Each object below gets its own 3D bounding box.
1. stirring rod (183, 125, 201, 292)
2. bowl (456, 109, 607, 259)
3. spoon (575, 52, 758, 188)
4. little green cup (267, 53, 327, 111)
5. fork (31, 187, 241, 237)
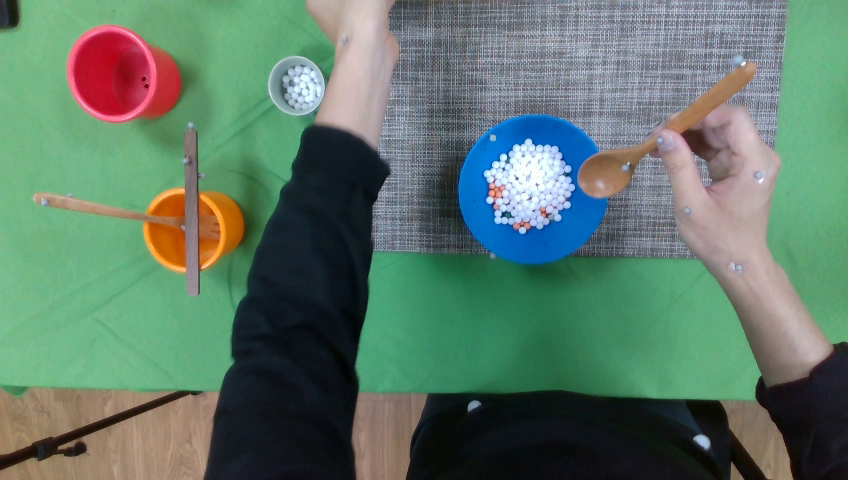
[{"bbox_3d":[-0.244,-0.032,0.637,0.014,0.006,0.176,3,100,6],"label":"stirring rod"},{"bbox_3d":[0.110,-0.060,0.641,0.151,0.076,0.152,1,100,5],"label":"bowl"},{"bbox_3d":[0.173,-0.082,0.456,0.042,0.194,0.021,39,69,-4],"label":"spoon"},{"bbox_3d":[-0.137,-0.171,0.665,0.061,0.038,0.062,1,100,5],"label":"little green cup"},{"bbox_3d":[-0.296,-0.030,0.645,0.209,0.018,0.028,11,106,-41],"label":"fork"}]
